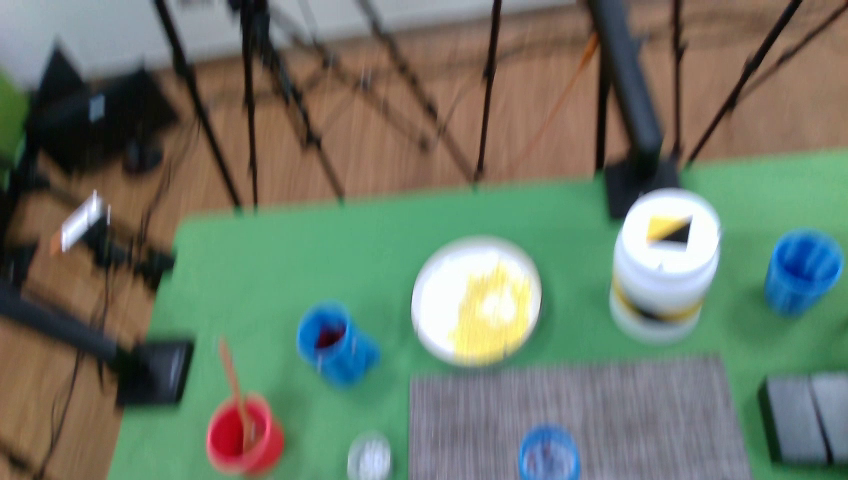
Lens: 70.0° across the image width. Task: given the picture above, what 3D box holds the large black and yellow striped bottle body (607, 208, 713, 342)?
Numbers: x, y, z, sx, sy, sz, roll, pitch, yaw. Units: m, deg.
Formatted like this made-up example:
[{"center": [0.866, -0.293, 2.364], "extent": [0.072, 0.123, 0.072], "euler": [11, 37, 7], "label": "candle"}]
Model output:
[{"center": [0.327, 0.050, 0.850], "extent": [0.130, 0.186, 0.129], "euler": [-6, 56, 10], "label": "large black and yellow striped bottle body"}]

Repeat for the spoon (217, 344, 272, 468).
[{"center": [-0.267, 0.242, 0.887], "extent": [0.041, 0.021, 0.194], "euler": [-16, 100, 0], "label": "spoon"}]

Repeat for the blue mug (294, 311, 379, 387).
[{"center": [-0.125, 0.171, 0.925], "extent": [0.116, 0.107, 0.082], "euler": [5, 59, 16], "label": "blue mug"}]

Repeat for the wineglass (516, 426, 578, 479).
[{"center": [0.151, 0.283, 0.740], "extent": [0.073, 0.174, 0.073], "euler": [-6, 56, 9], "label": "wineglass"}]

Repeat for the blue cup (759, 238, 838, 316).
[{"center": [0.516, 0.060, 0.850], "extent": [0.092, 0.101, 0.092], "euler": [-7, 56, 11], "label": "blue cup"}]

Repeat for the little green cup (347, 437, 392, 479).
[{"center": [-0.075, 0.315, 0.860], "extent": [0.061, 0.039, 0.061], "euler": [-6, 57, 10], "label": "little green cup"}]

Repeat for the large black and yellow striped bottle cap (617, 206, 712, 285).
[{"center": [0.309, 0.005, 0.781], "extent": [0.115, 0.019, 0.114], "euler": [-6, 55, 10], "label": "large black and yellow striped bottle cap"}]

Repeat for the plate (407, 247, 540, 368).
[{"center": [0.078, 0.108, 0.960], "extent": [0.209, 0.038, 0.207], "euler": [-6, 57, 9], "label": "plate"}]
